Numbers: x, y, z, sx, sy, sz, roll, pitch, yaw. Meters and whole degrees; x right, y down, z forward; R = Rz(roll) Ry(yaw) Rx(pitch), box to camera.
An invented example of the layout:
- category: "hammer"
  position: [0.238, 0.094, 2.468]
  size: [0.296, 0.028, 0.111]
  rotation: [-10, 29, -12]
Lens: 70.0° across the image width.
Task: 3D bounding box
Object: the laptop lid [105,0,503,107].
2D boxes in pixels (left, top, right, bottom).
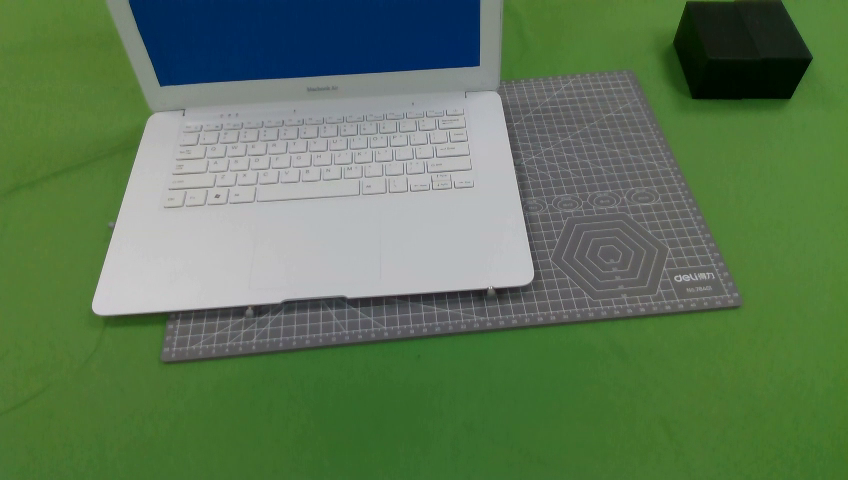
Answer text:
- category: "laptop lid"
  position: [-0.106, -0.227, 0.534]
  size: [0.357, 0.244, 0.013]
  rotation: [-5, 44, 0]

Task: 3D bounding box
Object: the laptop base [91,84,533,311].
- category: "laptop base"
  position: [-0.094, -0.047, 0.547]
  size: [0.354, 0.023, 0.233]
  rotation: [-4, 56, -1]
